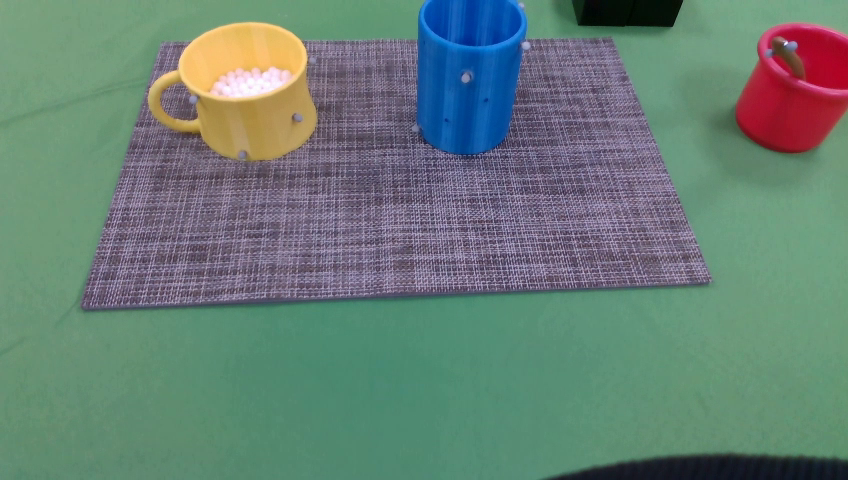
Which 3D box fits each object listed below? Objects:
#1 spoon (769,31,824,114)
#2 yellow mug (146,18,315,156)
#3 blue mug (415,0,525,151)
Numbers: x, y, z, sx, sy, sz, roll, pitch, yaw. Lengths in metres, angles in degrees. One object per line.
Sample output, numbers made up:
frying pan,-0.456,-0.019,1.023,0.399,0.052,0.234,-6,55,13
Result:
spoon,0.297,-0.134,0.487,0.195,0.022,0.041,11,34,-54
yellow mug,-0.159,-0.123,0.499,0.131,0.064,0.099,-14,56,-12
blue mug,0.045,-0.149,0.504,0.082,0.107,0.116,35,59,21
